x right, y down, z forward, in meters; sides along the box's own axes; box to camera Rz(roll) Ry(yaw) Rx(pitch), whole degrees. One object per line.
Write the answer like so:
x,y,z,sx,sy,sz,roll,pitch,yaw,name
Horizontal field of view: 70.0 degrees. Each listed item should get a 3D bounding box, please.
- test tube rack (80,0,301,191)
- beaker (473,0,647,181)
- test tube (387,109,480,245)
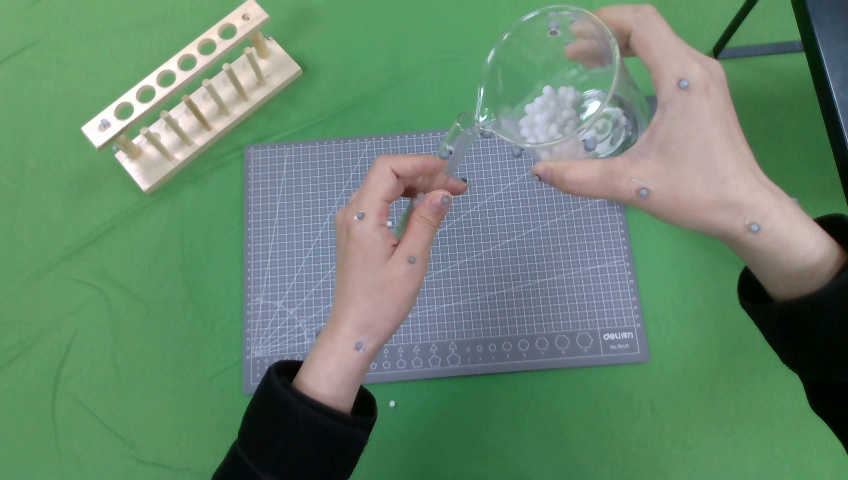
-0.270,-0.172,0.722,0.242,0.085,0.066,-41,77,-8,test tube rack
0.083,-0.077,0.349,0.084,0.101,0.073,-28,69,24,beaker
0.001,-0.034,0.391,0.017,0.151,0.017,9,61,-16,test tube
